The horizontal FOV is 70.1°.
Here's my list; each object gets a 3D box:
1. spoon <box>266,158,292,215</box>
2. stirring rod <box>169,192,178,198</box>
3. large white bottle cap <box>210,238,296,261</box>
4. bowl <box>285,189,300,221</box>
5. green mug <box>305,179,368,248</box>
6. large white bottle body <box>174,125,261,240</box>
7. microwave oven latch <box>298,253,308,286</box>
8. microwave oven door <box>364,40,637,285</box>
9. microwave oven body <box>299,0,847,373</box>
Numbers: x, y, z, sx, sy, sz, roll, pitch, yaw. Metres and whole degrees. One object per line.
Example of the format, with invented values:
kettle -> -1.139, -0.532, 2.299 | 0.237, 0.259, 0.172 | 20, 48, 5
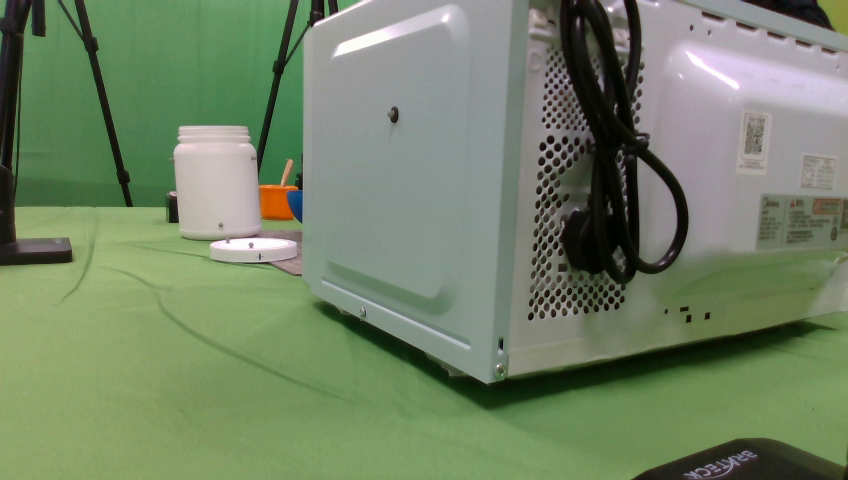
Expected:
spoon -> -0.334, -0.127, 1.423 | 0.041, 0.193, 0.021 | 1, -37, 6
stirring rod -> -0.465, -0.098, 1.283 | 0.014, 0.006, 0.177 | 42, 21, 17
large white bottle cap -> -0.236, 0.012, 0.839 | 0.115, 0.018, 0.115 | 1, 7, 0
bowl -> -0.180, -0.050, 1.113 | 0.151, 0.077, 0.151 | 3, 8, 0
green mug -> -0.133, -0.044, 0.977 | 0.092, 0.105, 0.126 | 6, 8, 32
large white bottle body -> -0.349, -0.100, 1.025 | 0.131, 0.184, 0.130 | -1, 9, 0
microwave oven latch -> -0.081, 0.027, 0.582 | 0.079, 0.029, 0.030 | -2, 7, -33
microwave oven door -> 0.105, -0.081, 0.694 | 0.358, 0.243, 0.039 | -2, 9, -30
microwave oven body -> 0.152, -0.055, 0.542 | 0.444, 0.260, 0.324 | -2, 7, -33
